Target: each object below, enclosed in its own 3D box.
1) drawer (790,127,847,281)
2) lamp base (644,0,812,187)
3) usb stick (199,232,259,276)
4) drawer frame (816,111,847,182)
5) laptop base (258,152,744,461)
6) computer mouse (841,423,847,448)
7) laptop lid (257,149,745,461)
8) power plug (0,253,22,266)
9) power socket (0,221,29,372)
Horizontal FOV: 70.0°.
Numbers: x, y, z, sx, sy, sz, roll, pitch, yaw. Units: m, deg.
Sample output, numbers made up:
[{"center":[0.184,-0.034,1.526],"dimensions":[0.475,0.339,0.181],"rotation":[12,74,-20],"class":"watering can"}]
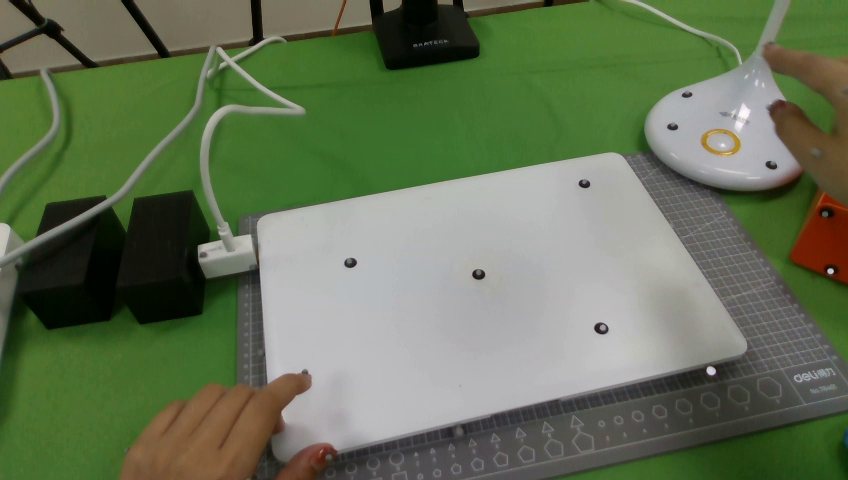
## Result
[{"center":[0.446,-0.030,0.509],"dimensions":[0.193,0.074,0.211],"rotation":[26,54,25],"class":"drawer"},{"center":[0.310,-0.171,0.570],"dimensions":[0.160,0.182,0.178],"rotation":[19,48,19],"class":"lamp base"},{"center":[-0.159,0.011,0.518],"dimensions":[0.059,0.027,0.021],"rotation":[-11,48,-13],"class":"usb stick"},{"center":[0.510,-0.100,0.566],"dimensions":[0.200,0.083,0.213],"rotation":[27,54,25],"class":"drawer frame"},{"center":[0.046,0.035,0.506],"dimensions":[0.355,0.023,0.233],"rotation":[-11,52,-8],"class":"laptop base"},{"center":[0.321,0.156,0.375],"dimensions":[0.063,0.041,0.116],"rotation":[-9,44,-3],"class":"computer mouse"},{"center":[0.046,0.029,0.495],"dimensions":[0.357,0.013,0.239],"rotation":[-10,51,-6],"class":"laptop lid"},{"center":[-0.348,0.040,0.476],"dimensions":[0.072,0.053,0.035],"rotation":[-4,48,-1],"class":"power plug"},{"center":[-0.373,0.069,0.483],"dimensions":[0.072,0.033,0.224],"rotation":[-12,48,-10],"class":"power socket"}]
